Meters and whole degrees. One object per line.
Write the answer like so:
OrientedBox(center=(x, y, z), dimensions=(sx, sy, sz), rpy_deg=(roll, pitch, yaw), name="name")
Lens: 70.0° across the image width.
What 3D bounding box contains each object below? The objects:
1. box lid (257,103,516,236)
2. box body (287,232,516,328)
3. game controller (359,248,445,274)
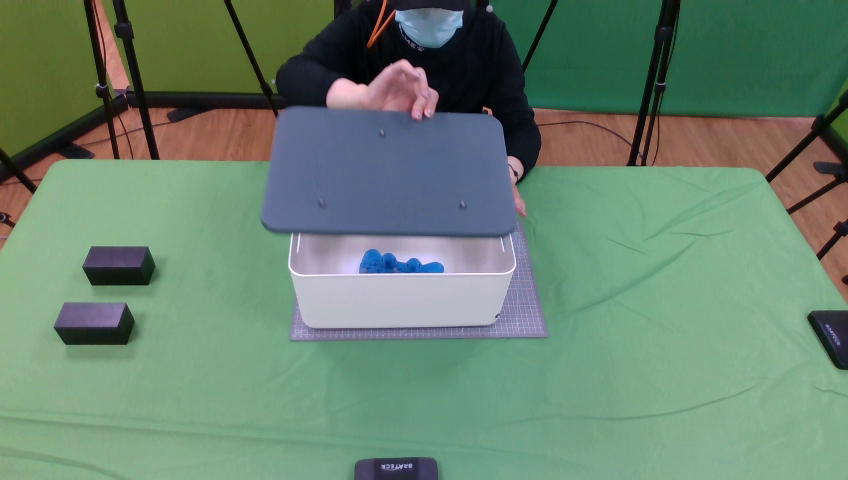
OrientedBox(center=(-0.050, -0.113, 0.917), dimensions=(0.372, 0.015, 0.261), rpy_deg=(1, 53, -4), name="box lid")
OrientedBox(center=(-0.040, 0.015, 1.075), dimensions=(0.364, 0.161, 0.252), rpy_deg=(-1, 47, -4), name="box body")
OrientedBox(center=(-0.043, 0.056, 1.107), dimensions=(0.155, 0.052, 0.096), rpy_deg=(11, 51, 8), name="game controller")
